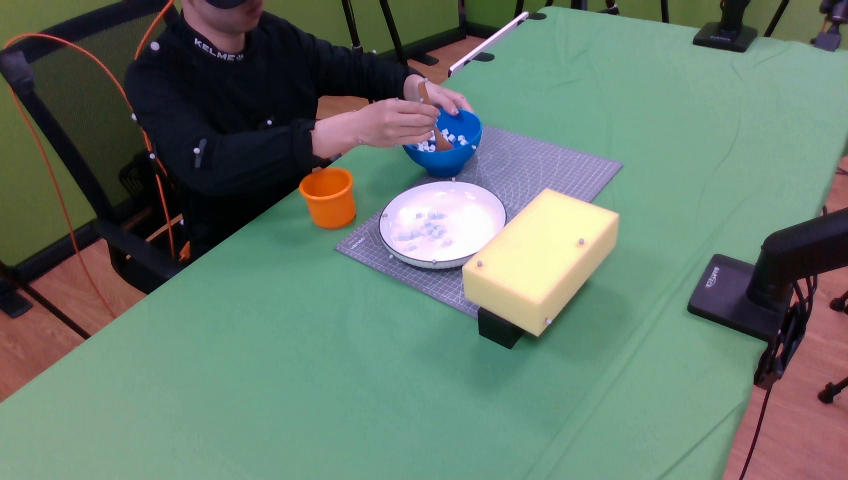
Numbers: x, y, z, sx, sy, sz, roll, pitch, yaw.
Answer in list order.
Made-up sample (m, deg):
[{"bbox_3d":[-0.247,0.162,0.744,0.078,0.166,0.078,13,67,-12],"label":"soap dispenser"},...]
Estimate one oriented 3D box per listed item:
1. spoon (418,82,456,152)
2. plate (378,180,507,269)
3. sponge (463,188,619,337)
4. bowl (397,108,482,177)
[{"bbox_3d":[0.018,-0.192,1.011,0.041,0.195,0.021,-28,51,0],"label":"spoon"},{"bbox_3d":[0.031,-0.022,0.974,0.209,0.038,0.208,-4,40,4],"label":"plate"},{"bbox_3d":[0.160,0.022,0.814,0.117,0.061,0.207,24,50,32],"label":"sponge"},{"bbox_3d":[0.034,-0.168,1.099,0.151,0.077,0.150,-6,42,5],"label":"bowl"}]
